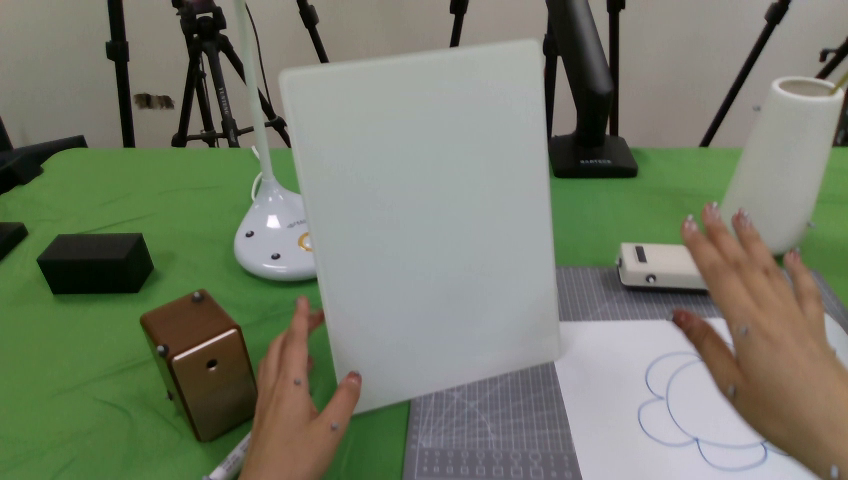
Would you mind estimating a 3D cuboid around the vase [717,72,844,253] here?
[{"bbox_3d":[0.406,-0.083,0.690,0.098,0.202,0.097,0,36,1],"label":"vase"}]

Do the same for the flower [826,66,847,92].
[{"bbox_3d":[0.413,-0.142,0.630,0.044,0.364,0.038,-13,54,-26],"label":"flower"}]

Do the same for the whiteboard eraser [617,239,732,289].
[{"bbox_3d":[0.274,0.028,0.670,0.112,0.042,0.055,2,34,6],"label":"whiteboard eraser"}]

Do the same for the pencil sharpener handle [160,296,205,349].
[{"bbox_3d":[-0.223,0.072,0.558,0.036,0.068,0.030,-34,45,-25],"label":"pencil sharpener handle"}]

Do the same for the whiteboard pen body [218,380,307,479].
[{"bbox_3d":[-0.141,0.170,0.512,0.017,0.017,0.140,12,36,19],"label":"whiteboard pen body"}]

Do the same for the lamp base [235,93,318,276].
[{"bbox_3d":[-0.165,-0.074,0.721,0.160,0.182,0.177,-31,42,-34],"label":"lamp base"}]

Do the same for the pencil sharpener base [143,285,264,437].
[{"bbox_3d":[-0.192,0.105,0.532,0.061,0.108,0.076,-27,42,-30],"label":"pencil sharpener base"}]

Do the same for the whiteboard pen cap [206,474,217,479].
[{"bbox_3d":[-0.169,0.196,0.464,0.018,0.018,0.033,16,34,24],"label":"whiteboard pen cap"}]

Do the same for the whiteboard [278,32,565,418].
[{"bbox_3d":[-0.003,-0.024,0.583,0.218,0.307,0.143,-12,17,-12],"label":"whiteboard"}]
